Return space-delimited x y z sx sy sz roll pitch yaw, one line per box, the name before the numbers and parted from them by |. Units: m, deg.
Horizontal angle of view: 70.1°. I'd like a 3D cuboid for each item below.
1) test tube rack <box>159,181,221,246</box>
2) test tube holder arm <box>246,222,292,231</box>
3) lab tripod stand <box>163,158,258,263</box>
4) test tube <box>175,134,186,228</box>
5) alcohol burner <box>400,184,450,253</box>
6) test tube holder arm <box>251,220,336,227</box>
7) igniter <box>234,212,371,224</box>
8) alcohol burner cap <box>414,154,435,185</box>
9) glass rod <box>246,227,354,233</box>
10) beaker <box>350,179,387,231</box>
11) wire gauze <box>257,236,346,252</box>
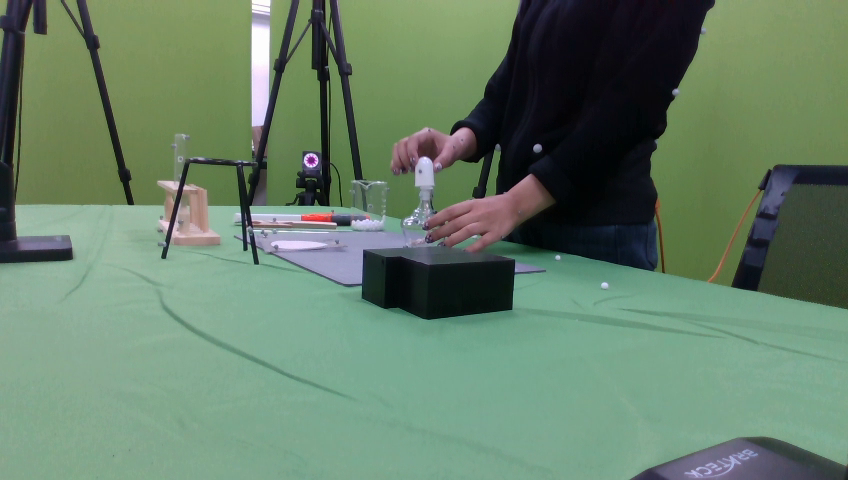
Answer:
test tube rack | -0.395 -0.050 1.010 0.067 0.085 0.241 -2 8 -28
test tube holder arm | -0.291 -0.026 1.129 0.088 0.015 0.010 -1 42 -29
lab tripod stand | -0.265 -0.041 0.802 0.148 0.131 0.148 4 7 0
test tube | -0.388 -0.093 0.964 0.017 0.150 0.017 1 2 0
alcohol burner | 0.003 -0.040 0.933 0.078 0.119 0.078 3 9 0
test tube holder arm | -0.253 -0.030 1.156 0.179 0.015 0.013 -2 43 -30
igniter | -0.246 -0.045 1.248 0.278 0.025 0.057 -1 -3 -25
alcohol burner cap | 0.000 -0.107 0.927 0.034 0.048 0.034 -3 2 0
glass rod | -0.224 -0.017 1.109 0.201 0.008 0.008 1 7 -27
beaker | -0.111 -0.070 1.204 0.074 0.100 0.084 2 8 0
wire gauze | -0.189 0.005 0.931 0.122 0.011 0.124 1 7 -21
